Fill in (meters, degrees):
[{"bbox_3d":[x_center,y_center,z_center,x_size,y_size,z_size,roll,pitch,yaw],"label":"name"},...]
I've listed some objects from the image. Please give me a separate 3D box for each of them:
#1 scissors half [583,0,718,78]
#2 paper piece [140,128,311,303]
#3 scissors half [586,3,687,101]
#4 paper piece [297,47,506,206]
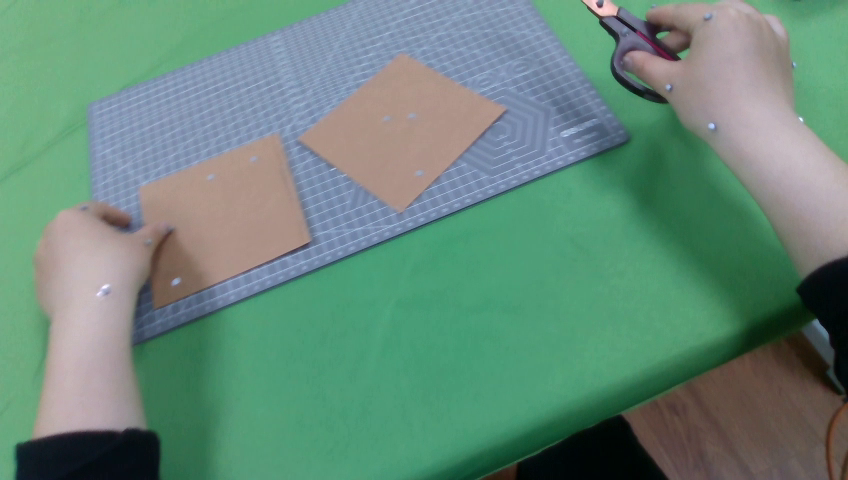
[{"bbox_3d":[0.149,-0.181,0.463,0.174,0.013,0.040,41,79,18],"label":"scissors half"},{"bbox_3d":[-0.174,-0.027,0.519,0.138,0.009,0.134,-23,54,-1],"label":"paper piece"},{"bbox_3d":[0.133,-0.169,0.459,0.040,0.013,0.173,-27,68,-10],"label":"scissors half"},{"bbox_3d":[-0.022,-0.107,0.535,0.134,0.004,0.135,36,72,27],"label":"paper piece"}]
